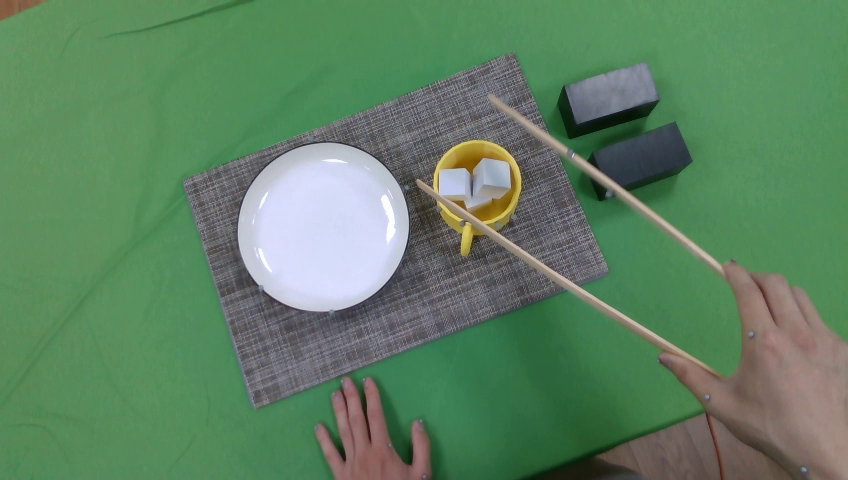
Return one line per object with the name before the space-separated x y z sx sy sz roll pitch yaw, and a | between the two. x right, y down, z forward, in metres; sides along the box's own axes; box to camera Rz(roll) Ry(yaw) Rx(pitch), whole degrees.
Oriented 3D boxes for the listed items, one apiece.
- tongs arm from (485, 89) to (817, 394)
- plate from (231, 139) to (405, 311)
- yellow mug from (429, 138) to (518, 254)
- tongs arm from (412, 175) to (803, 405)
tongs arm | 0.173 -0.019 0.535 0.051 0.027 0.381 -47 61 2
plate | -0.124 -0.017 0.728 0.207 0.039 0.207 -1 81 4
yellow mug | 0.055 -0.047 0.706 0.100 0.064 0.130 10 82 5
tongs arm | 0.132 0.031 0.538 0.384 0.028 0.028 34 84 29
